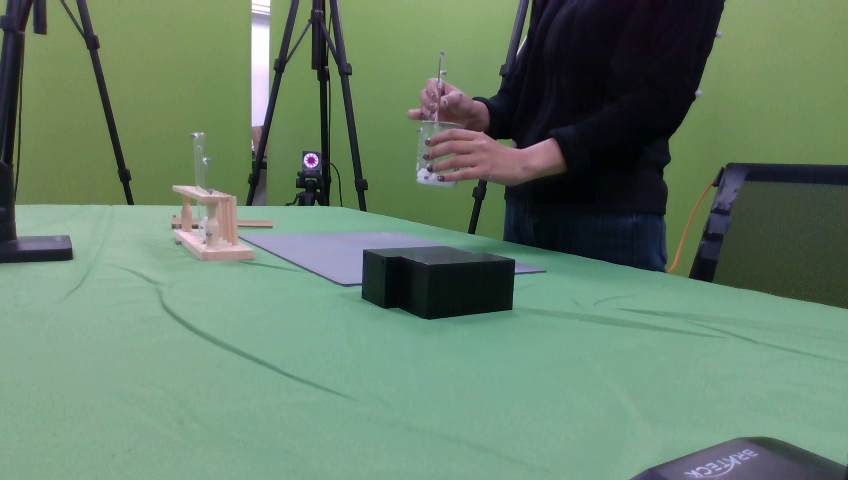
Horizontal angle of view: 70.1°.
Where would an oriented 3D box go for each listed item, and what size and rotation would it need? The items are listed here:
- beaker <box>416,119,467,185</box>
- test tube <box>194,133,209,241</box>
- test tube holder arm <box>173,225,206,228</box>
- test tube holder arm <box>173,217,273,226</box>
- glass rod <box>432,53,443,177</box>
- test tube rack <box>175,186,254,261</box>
[{"bbox_3d":[0.025,-0.141,0.978,0.074,0.100,0.084,5,6,-13],"label":"beaker"},{"bbox_3d":[-0.307,-0.074,0.842,0.017,0.150,0.017,-3,2,0],"label":"test tube"},{"bbox_3d":[-0.415,-0.030,1.113,0.088,0.015,0.010,-1,-22,-25],"label":"test tube holder arm"},{"bbox_3d":[-0.371,-0.033,1.128,0.179,0.015,0.013,-1,-22,-26],"label":"test tube holder arm"},{"bbox_3d":[0.022,-0.198,0.957,0.008,0.199,0.008,3,-3,0],"label":"glass rod"},{"bbox_3d":[-0.314,-0.031,0.889,0.067,0.085,0.241,-2,8,-30],"label":"test tube rack"}]
